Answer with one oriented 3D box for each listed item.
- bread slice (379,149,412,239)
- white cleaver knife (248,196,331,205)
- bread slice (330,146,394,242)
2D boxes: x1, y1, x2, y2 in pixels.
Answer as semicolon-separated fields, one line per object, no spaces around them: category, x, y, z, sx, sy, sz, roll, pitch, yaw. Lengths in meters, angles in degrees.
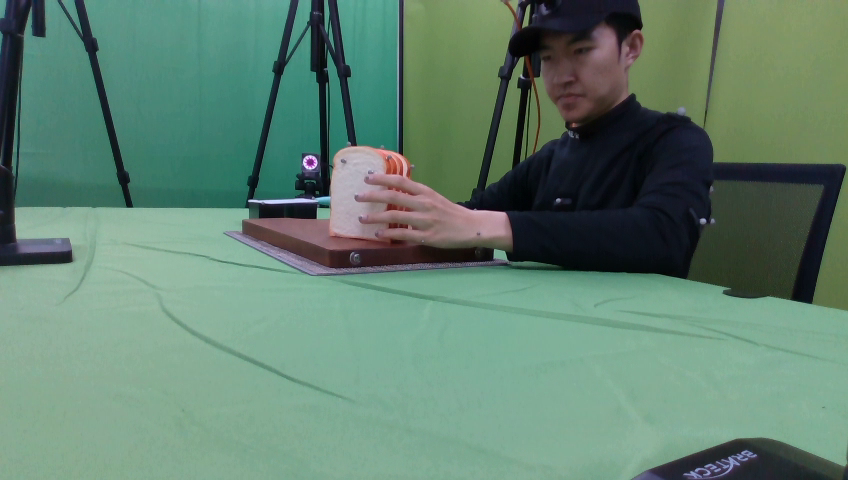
bread slice;-0.063;-0.070;0.903;0.104;0.131;0.019;8;3;27
white cleaver knife;-0.257;-0.087;1.306;0.065;0.021;0.288;7;7;30
bread slice;-0.090;-0.066;0.859;0.106;0.134;0.018;3;9;29
